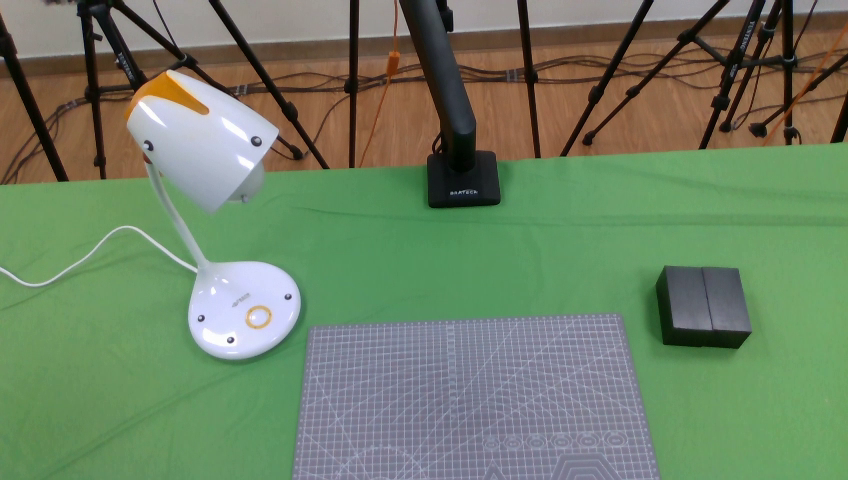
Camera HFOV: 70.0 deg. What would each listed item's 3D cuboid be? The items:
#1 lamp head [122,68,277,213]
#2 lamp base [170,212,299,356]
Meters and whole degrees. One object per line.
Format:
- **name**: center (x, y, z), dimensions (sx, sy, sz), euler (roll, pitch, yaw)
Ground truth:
- **lamp head**: center (-0.224, -0.103, 0.587), dimensions (0.124, 0.112, 0.112), euler (37, 56, -18)
- **lamp base**: center (-0.279, 0.047, 0.830), dimensions (0.178, 0.182, 0.160), euler (26, 60, 23)
